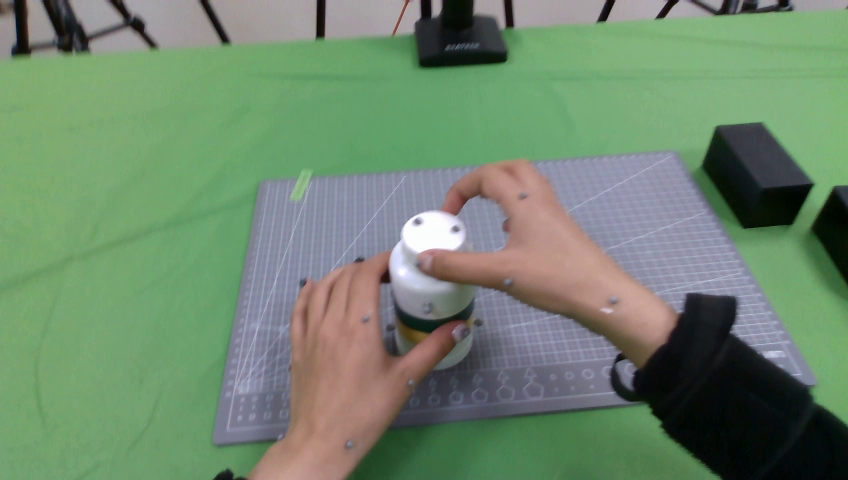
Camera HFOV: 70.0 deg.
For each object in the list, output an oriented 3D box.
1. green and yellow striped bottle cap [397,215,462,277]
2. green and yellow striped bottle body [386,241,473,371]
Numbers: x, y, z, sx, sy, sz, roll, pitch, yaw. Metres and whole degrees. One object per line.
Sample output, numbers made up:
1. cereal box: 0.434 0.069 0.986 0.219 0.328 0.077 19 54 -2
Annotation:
1. green and yellow striped bottle cap: 0.004 0.003 0.411 0.045 0.020 0.045 -1 44 1
2. green and yellow striped bottle body: 0.005 0.039 0.450 0.063 0.121 0.062 -1 46 1
